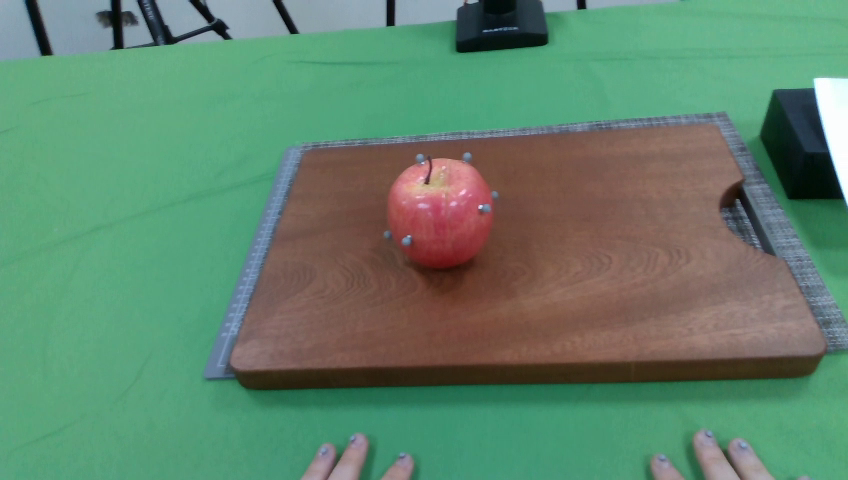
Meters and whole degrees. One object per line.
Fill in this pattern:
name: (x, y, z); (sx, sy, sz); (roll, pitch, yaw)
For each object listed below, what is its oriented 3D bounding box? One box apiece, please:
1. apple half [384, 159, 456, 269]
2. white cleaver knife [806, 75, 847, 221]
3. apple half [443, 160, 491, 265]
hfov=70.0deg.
apple half: (-0.003, -0.018, 0.465); (0.053, 0.075, 0.080); (-6, 45, 10)
white cleaver knife: (0.350, -0.025, 0.457); (0.066, 0.022, 0.284); (-2, 55, 12)
apple half: (0.035, -0.021, 0.460); (0.033, 0.082, 0.080); (-6, 43, 10)
